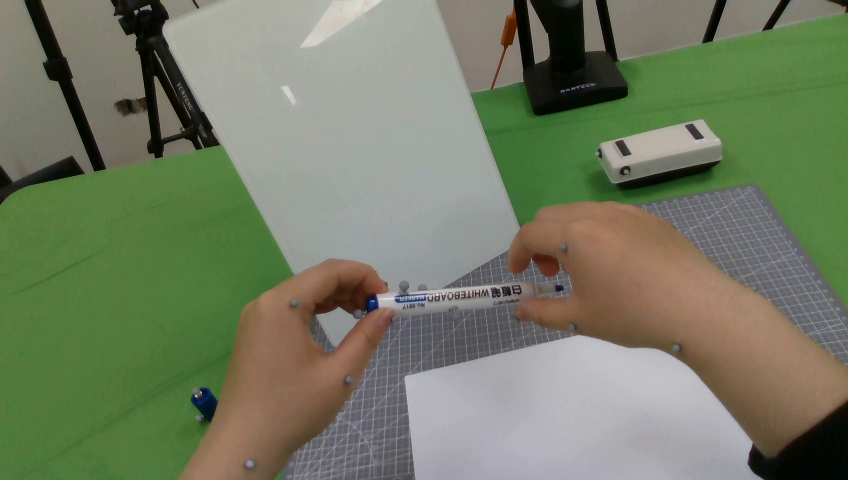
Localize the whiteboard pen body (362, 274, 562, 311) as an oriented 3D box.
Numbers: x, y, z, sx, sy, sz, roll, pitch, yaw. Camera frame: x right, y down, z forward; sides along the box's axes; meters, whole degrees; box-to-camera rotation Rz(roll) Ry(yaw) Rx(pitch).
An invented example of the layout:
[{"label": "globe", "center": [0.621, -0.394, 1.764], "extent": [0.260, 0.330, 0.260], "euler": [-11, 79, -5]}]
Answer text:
[{"label": "whiteboard pen body", "center": [0.029, 0.033, 0.395], "extent": [0.141, 0.017, 0.017], "euler": [-3, 36, -21]}]

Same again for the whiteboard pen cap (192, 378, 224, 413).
[{"label": "whiteboard pen cap", "center": [-0.186, 0.135, 0.523], "extent": [0.018, 0.033, 0.018], "euler": [-8, 41, 7]}]

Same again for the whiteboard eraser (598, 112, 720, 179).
[{"label": "whiteboard eraser", "center": [0.244, -0.096, 0.634], "extent": [0.112, 0.042, 0.055], "euler": [-12, 43, 4]}]

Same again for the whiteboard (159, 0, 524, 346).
[{"label": "whiteboard", "center": [-0.072, -0.098, 0.585], "extent": [0.217, 0.307, 0.142], "euler": [-29, 22, -13]}]
